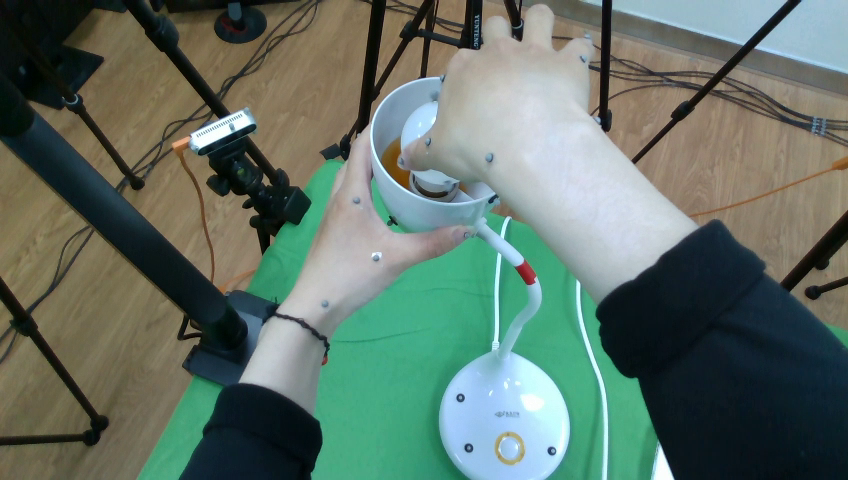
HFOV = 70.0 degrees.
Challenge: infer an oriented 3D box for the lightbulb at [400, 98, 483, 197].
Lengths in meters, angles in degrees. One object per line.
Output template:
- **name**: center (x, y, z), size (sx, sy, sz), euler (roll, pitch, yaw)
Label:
- **lightbulb**: center (0.010, -0.063, 0.456), size (0.059, 0.108, 0.059), euler (2, 69, -5)

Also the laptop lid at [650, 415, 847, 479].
- **laptop lid**: center (0.416, 0.361, 0.666), size (0.356, 0.013, 0.240), euler (20, 64, 9)

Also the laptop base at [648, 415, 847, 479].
- **laptop base**: center (0.417, 0.365, 0.678), size (0.353, 0.023, 0.234), euler (18, 66, 8)

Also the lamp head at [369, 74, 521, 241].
- **lamp head**: center (0.013, -0.049, 0.482), size (0.112, 0.124, 0.111), euler (1, 61, -2)

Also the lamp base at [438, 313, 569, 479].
- **lamp base**: center (0.095, 0.169, 0.680), size (0.161, 0.181, 0.177), euler (-9, 60, -6)
